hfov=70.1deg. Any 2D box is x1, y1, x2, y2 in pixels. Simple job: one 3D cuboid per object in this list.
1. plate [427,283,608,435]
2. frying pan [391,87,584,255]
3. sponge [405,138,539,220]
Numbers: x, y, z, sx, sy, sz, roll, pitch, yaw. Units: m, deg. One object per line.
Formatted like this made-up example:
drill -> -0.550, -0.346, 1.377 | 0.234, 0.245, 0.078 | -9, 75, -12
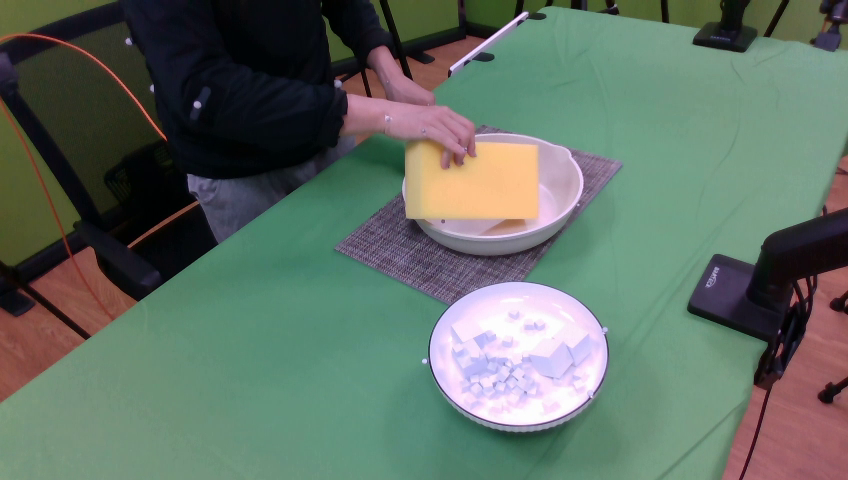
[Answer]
plate -> 0.108, 0.137, 0.708 | 0.207, 0.039, 0.206 | -4, 42, 4
frying pan -> 0.063, -0.143, 1.056 | 0.308, 0.103, 0.483 | -22, 51, -18
sponge -> 0.075, -0.090, 0.932 | 0.208, 0.118, 0.060 | 0, 4, -25
